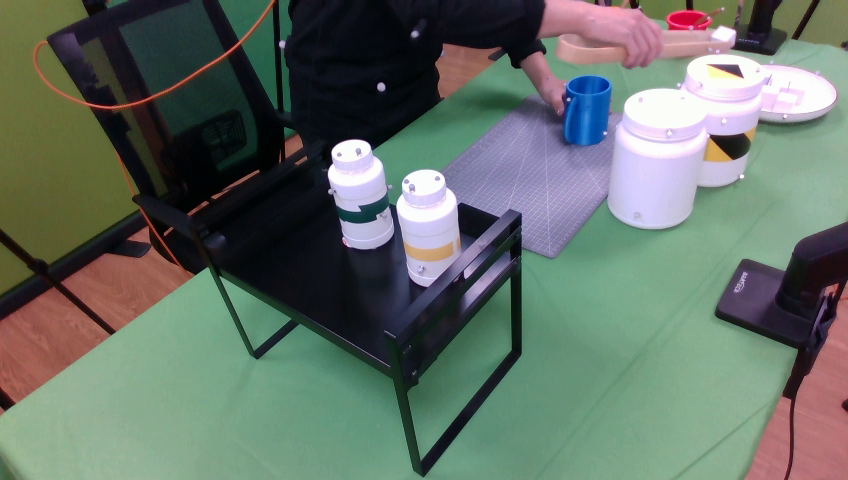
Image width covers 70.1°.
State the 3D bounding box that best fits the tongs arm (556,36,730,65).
[{"bbox_3d":[0.384,-0.323,1.018,0.390,0.028,0.028,-13,51,-27],"label":"tongs arm"}]

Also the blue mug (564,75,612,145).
[{"bbox_3d":[0.299,-0.238,1.142,0.081,0.106,0.117,28,53,34],"label":"blue mug"}]

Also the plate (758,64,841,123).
[{"bbox_3d":[0.694,-0.283,1.189,0.207,0.039,0.206,-4,40,4],"label":"plate"}]

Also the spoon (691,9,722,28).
[{"bbox_3d":[0.606,-0.476,1.345,0.042,0.021,0.193,-6,-3,-2],"label":"spoon"}]

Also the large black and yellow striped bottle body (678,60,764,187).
[{"bbox_3d":[0.482,-0.196,1.008,0.131,0.185,0.130,-4,41,4],"label":"large black and yellow striped bottle body"}]

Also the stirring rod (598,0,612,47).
[{"bbox_3d":[0.437,-0.551,1.462,0.014,0.006,0.175,-11,83,1],"label":"stirring rod"}]

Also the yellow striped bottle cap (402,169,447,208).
[{"bbox_3d":[0.000,-0.052,0.605,0.044,0.019,0.044,-4,42,5],"label":"yellow striped bottle cap"}]

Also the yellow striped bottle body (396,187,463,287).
[{"bbox_3d":[0.006,-0.013,0.638,0.063,0.121,0.062,-5,41,4],"label":"yellow striped bottle body"}]

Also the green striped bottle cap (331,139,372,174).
[{"bbox_3d":[-0.080,-0.092,0.665,0.044,0.020,0.044,-4,40,3],"label":"green striped bottle cap"}]

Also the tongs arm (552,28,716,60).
[{"bbox_3d":[0.373,-0.337,1.032,0.387,0.026,0.050,-10,46,-24],"label":"tongs arm"}]

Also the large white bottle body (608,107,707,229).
[{"bbox_3d":[0.362,-0.124,0.941,0.130,0.185,0.130,-5,41,4],"label":"large white bottle body"}]

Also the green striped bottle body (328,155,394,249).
[{"bbox_3d":[-0.073,-0.053,0.699,0.063,0.120,0.063,-5,41,4],"label":"green striped bottle body"}]

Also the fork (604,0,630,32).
[{"bbox_3d":[0.479,-0.556,1.452,0.028,0.019,0.207,41,103,40],"label":"fork"}]

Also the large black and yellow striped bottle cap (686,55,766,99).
[{"bbox_3d":[0.474,-0.258,0.952,0.115,0.019,0.114,-5,41,5],"label":"large black and yellow striped bottle cap"}]

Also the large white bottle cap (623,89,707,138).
[{"bbox_3d":[0.352,-0.187,0.886,0.115,0.018,0.114,-4,41,4],"label":"large white bottle cap"}]
